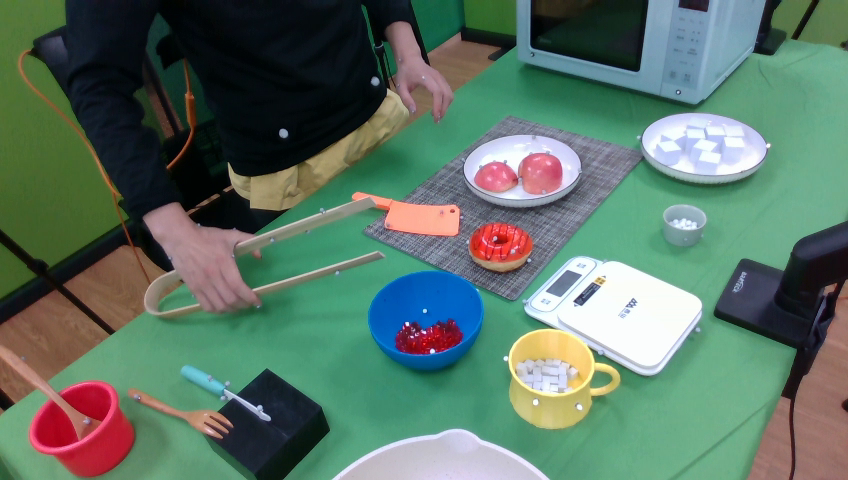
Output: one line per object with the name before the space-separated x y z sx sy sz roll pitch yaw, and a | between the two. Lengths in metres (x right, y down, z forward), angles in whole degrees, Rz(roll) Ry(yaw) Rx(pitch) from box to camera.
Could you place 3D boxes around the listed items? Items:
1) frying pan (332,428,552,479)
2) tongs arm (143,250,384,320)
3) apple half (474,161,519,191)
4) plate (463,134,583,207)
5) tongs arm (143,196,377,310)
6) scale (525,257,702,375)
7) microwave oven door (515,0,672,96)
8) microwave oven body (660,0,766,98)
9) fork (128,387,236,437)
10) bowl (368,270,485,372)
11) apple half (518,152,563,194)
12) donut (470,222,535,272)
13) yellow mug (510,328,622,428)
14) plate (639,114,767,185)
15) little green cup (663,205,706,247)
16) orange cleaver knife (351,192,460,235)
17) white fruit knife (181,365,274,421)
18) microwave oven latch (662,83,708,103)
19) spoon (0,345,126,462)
frying pan | -0.089 0.306 0.564 0.487 0.103 0.306 10 41 7
tongs arm | -0.235 0.065 0.851 0.386 0.028 0.028 -15 68 16
apple half | 0.130 -0.119 1.067 0.081 0.033 0.081 -4 37 3
plate | 0.173 -0.119 1.070 0.209 0.038 0.208 -4 40 4
tongs arm | -0.242 0.023 0.872 0.384 0.027 0.050 -18 64 15
scale | 0.254 0.091 0.821 0.199 0.032 0.149 27 51 35
microwave oven door | 0.343 -0.455 1.259 0.353 0.245 0.039 26 51 33
microwave oven body | 0.472 -0.513 1.317 0.438 0.261 0.327 26 51 34
fork | -0.305 0.207 0.744 0.206 0.019 0.028 3 41 36
bowl | 0.007 0.118 0.791 0.151 0.077 0.150 -4 40 4
apple half | 0.203 -0.123 1.047 0.075 0.053 0.080 -2 41 1
donut | 0.119 0.009 0.923 0.099 0.048 0.098 -4 38 3
yellow mug | 0.168 0.164 0.722 0.130 0.064 0.099 0 40 8
plate | 0.489 -0.157 1.074 0.207 0.039 0.206 -4 40 4
little green cup | 0.396 -0.020 0.926 0.061 0.039 0.061 -4 40 4
orange cleaver knife | -0.036 -0.045 1.028 0.210 0.012 0.077 11 49 17
white fruit knife | -0.245 0.187 0.747 0.205 0.027 0.016 9 41 40
microwave oven latch | 0.518 -0.296 1.204 0.078 0.029 0.030 28 52 35
spoon | -0.434 0.192 0.720 0.194 0.021 0.042 47 53 -7
